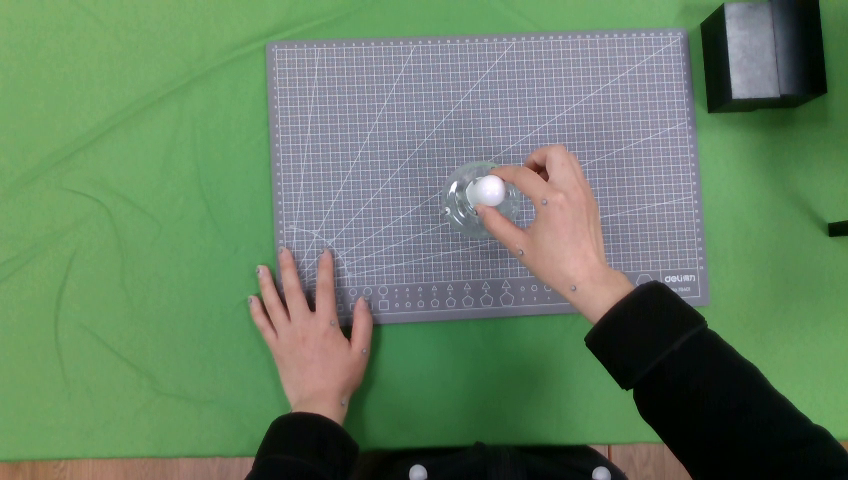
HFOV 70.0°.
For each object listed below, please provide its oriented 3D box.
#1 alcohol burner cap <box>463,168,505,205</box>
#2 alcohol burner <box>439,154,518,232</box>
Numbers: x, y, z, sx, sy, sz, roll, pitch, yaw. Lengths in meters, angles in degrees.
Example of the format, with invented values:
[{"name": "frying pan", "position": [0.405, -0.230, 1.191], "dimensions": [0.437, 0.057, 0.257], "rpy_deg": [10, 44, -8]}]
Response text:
[{"name": "alcohol burner cap", "position": [0.056, -0.050, 0.541], "dimensions": [0.034, 0.048, 0.034], "rpy_deg": [0, 90, -9]}, {"name": "alcohol burner", "position": [0.054, -0.046, 0.578], "dimensions": [0.078, 0.119, 0.078], "rpy_deg": [0, 88, -1]}]
